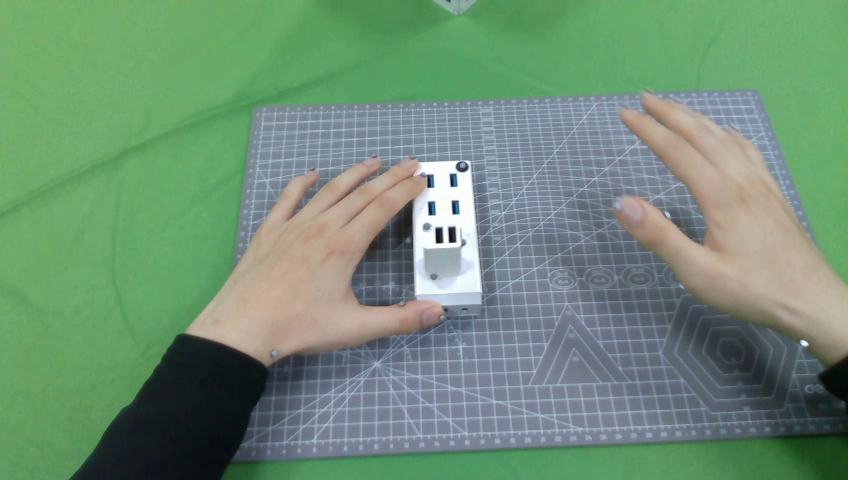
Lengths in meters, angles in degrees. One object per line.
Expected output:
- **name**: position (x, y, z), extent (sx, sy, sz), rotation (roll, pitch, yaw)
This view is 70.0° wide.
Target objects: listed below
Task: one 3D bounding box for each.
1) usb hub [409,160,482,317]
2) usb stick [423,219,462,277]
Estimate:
- **usb hub**: position (0.015, -0.004, 0.460), extent (0.049, 0.025, 0.124), rotation (-2, 62, -2)
- **usb stick**: position (0.013, 0.010, 0.419), extent (0.027, 0.059, 0.021), rotation (-3, 60, -2)
